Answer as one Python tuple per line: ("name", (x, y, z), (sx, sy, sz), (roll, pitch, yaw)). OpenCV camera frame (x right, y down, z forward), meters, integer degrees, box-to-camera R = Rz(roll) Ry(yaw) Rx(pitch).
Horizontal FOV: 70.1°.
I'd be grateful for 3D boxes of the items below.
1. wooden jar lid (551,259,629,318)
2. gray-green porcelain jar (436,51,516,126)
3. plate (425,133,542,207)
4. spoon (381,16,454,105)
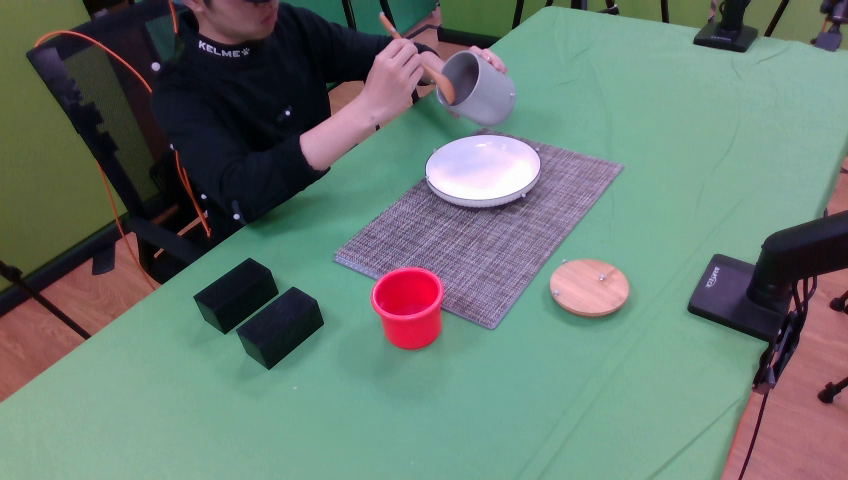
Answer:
("wooden jar lid", (0.234, 0.070, 0.857), (0.108, 0.021, 0.108), (-5, 40, 4))
("gray-green porcelain jar", (0.101, -0.274, 1.117), (0.128, 0.106, 0.105), (14, 19, -46))
("plate", (0.106, -0.122, 1.079), (0.207, 0.039, 0.206), (-4, 41, 4))
("spoon", (-0.009, -0.301, 1.021), (0.021, 0.195, 0.041), (-23, 40, 39))
